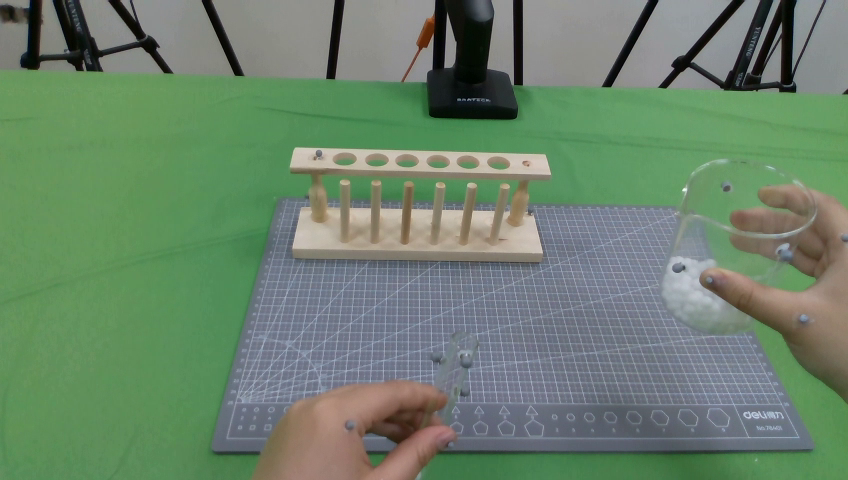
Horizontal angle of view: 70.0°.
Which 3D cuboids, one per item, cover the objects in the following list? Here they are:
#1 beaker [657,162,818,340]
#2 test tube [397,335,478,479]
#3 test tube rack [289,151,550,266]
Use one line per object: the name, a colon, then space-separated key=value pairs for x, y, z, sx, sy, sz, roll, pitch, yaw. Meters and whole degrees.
beaker: x=0.196 y=0.012 z=0.398 sx=0.084 sy=0.101 sz=0.073 roll=-10 pitch=43 yaw=-5
test tube: x=0.002 y=0.116 z=0.355 sx=0.017 sy=0.151 sz=0.017 roll=14 pitch=29 yaw=-7
test tube rack: x=-0.004 y=-0.030 z=0.587 sx=0.242 sy=0.086 sz=0.066 roll=1 pitch=41 yaw=-3
